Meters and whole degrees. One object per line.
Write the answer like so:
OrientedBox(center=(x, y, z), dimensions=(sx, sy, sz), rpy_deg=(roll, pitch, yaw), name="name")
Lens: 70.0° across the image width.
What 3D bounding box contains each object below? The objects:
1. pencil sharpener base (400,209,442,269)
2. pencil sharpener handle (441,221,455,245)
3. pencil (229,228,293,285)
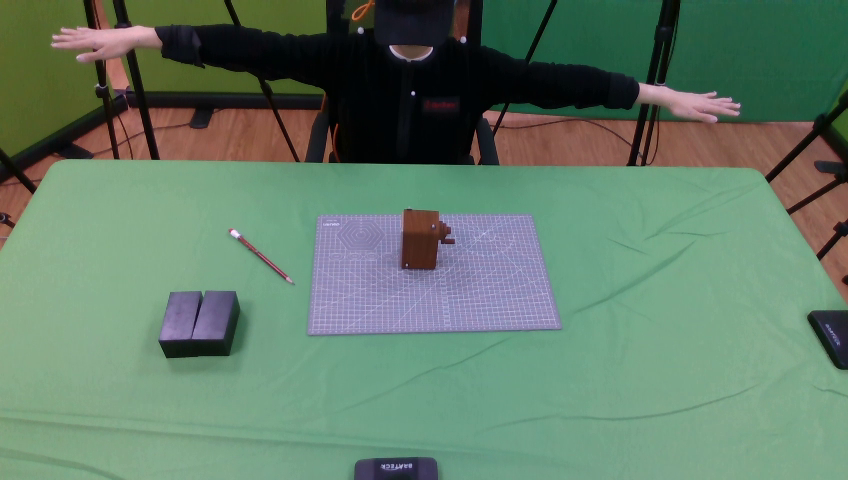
OrientedBox(center=(-0.006, 0.000, 1.134), dimensions=(0.077, 0.107, 0.061), rpy_deg=(2, 46, -2), name="pencil sharpener base")
OrientedBox(center=(0.046, -0.011, 1.130), dimensions=(0.030, 0.068, 0.036), rpy_deg=(2, 62, -2), name="pencil sharpener handle")
OrientedBox(center=(-0.311, 0.031, 1.155), dimensions=(0.193, 0.012, 0.012), rpy_deg=(36, 54, 26), name="pencil")
